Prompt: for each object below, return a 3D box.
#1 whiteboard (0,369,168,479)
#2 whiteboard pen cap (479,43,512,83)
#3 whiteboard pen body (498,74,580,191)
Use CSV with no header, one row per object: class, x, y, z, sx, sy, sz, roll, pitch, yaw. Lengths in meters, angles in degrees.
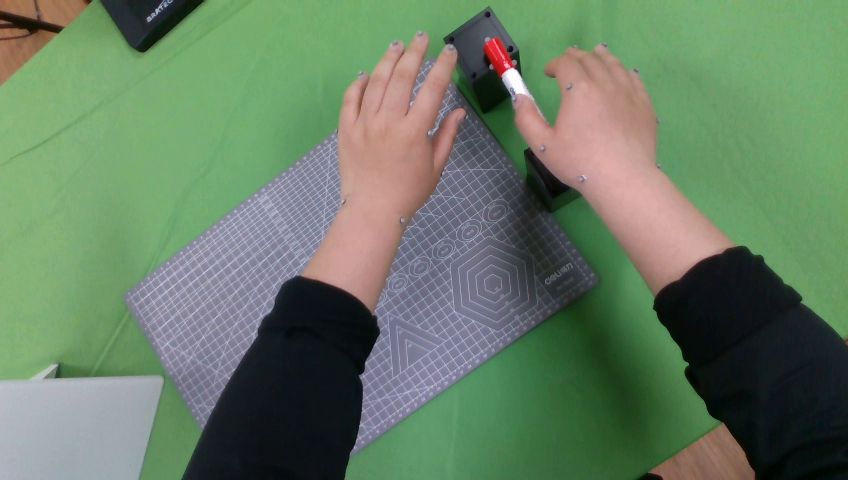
whiteboard,-0.451,0.228,0.595,0.143,0.308,0.217,14,89,32
whiteboard pen cap,0.063,-0.155,0.534,0.017,0.017,0.032,-31,82,8
whiteboard pen body,0.093,-0.103,0.526,0.017,0.017,0.140,-31,80,8
